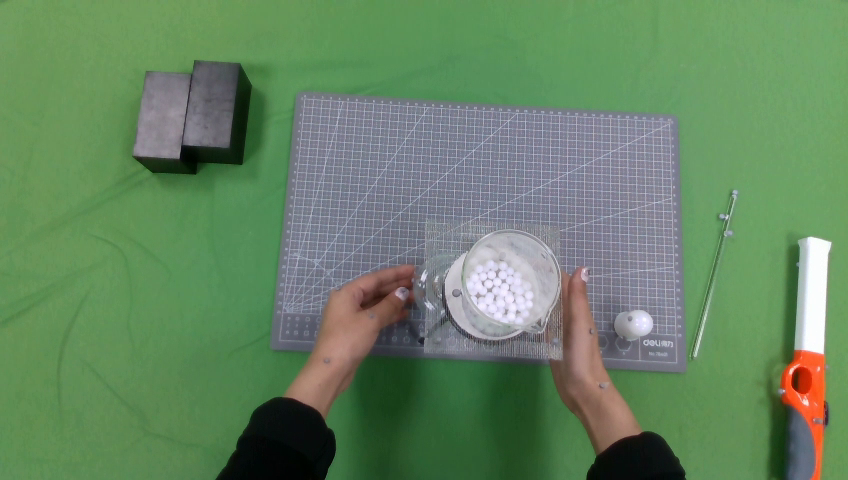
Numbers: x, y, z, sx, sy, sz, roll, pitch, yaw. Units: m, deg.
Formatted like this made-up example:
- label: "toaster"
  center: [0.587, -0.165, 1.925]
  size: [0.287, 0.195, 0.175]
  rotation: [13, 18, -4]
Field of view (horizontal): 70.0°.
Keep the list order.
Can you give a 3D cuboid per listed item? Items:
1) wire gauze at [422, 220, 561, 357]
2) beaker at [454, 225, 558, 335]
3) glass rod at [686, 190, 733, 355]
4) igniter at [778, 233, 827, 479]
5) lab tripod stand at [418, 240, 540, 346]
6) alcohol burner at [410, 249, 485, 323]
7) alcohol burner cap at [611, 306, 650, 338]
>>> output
- label: "wire gauze"
  center: [0.059, 0.040, 0.538]
  size: [0.125, 0.011, 0.121]
  rotation: [2, 76, 1]
- label: "beaker"
  center: [0.063, 0.040, 0.489]
  size: [0.074, 0.100, 0.083]
  rotation: [-28, 79, -8]
- label: "glass rod"
  center: [0.322, 0.034, 0.683]
  size: [0.008, 0.008, 0.199]
  rotation: [20, 78, 2]
- label: "igniter"
  center: [0.411, 0.127, 0.655]
  size: [0.057, 0.025, 0.275]
  rotation: [13, 78, -10]
- label: "lab tripod stand"
  center: [0.057, 0.057, 0.601]
  size: [0.148, 0.132, 0.147]
  rotation: [0, 77, 0]
- label: "alcohol burner"
  center: [0.025, 0.043, 0.614]
  size: [0.078, 0.119, 0.077]
  rotation: [1, 75, -2]
- label: "alcohol burner cap"
  center: [0.223, 0.087, 0.648]
  size: [0.034, 0.048, 0.033]
  rotation: [0, 77, 0]
